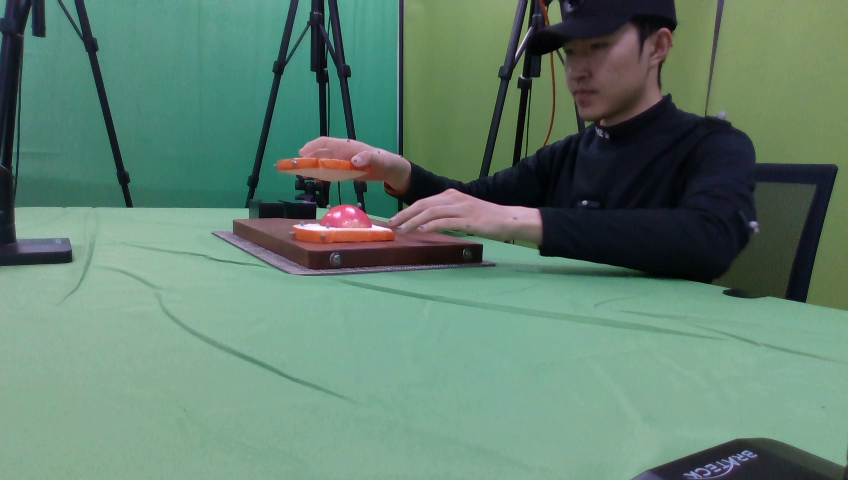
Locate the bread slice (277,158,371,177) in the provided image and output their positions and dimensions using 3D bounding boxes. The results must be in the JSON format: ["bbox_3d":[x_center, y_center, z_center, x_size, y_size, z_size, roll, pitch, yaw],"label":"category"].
[{"bbox_3d":[-0.167,-0.116,0.976,0.106,0.018,0.135,0,0,39],"label":"bread slice"}]

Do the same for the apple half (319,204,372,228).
[{"bbox_3d":[-0.112,-0.035,0.876,0.081,0.033,0.081,1,6,0],"label":"apple half"}]

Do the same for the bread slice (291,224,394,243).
[{"bbox_3d":[-0.122,-0.011,0.869,0.132,0.019,0.104,-1,7,-32],"label":"bread slice"}]
